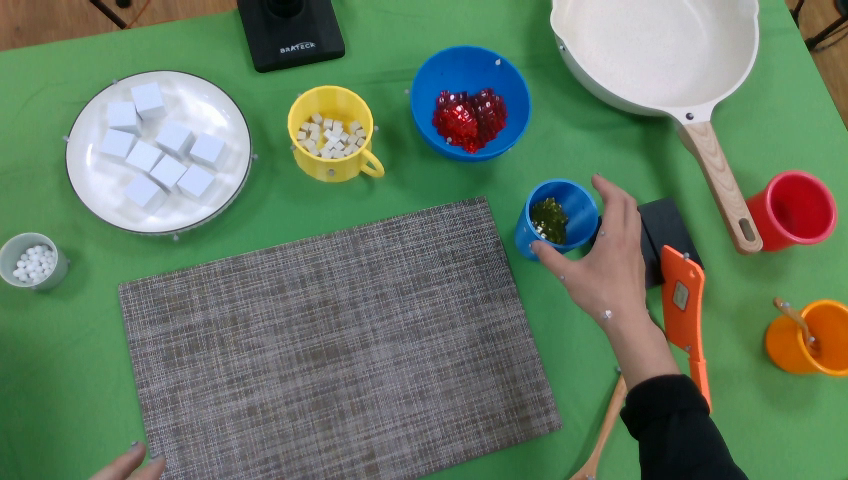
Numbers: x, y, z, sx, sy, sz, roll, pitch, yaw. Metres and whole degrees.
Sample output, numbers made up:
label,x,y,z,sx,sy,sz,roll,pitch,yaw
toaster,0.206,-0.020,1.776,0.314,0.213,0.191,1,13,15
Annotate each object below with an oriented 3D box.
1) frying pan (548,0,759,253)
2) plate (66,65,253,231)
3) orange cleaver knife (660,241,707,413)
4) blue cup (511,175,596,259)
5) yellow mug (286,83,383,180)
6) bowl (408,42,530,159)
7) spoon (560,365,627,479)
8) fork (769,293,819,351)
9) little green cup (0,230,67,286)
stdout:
label,x,y,z,sx,sy,sz,roll,pitch,yaw
frying pan,0.329,-0.207,0.803,0.307,0.103,0.484,-10,69,-9
plate,-0.310,-0.108,0.724,0.208,0.039,0.206,2,75,-7
orange cleaver knife,0.311,0.105,0.729,0.012,0.076,0.212,-15,106,-11
blue cup,0.147,-0.019,0.730,0.093,0.100,0.092,3,73,-8
yellow mug,-0.103,-0.123,0.742,0.131,0.064,0.099,37,73,2
bowl,0.051,-0.163,0.767,0.152,0.077,0.150,2,75,-7
spoon,0.203,0.234,0.711,0.041,0.022,0.193,26,73,13
fork,0.439,0.097,0.713,0.209,0.018,0.028,31,67,-44
little green cup,-0.431,0.022,0.671,0.062,0.039,0.061,2,76,-8
